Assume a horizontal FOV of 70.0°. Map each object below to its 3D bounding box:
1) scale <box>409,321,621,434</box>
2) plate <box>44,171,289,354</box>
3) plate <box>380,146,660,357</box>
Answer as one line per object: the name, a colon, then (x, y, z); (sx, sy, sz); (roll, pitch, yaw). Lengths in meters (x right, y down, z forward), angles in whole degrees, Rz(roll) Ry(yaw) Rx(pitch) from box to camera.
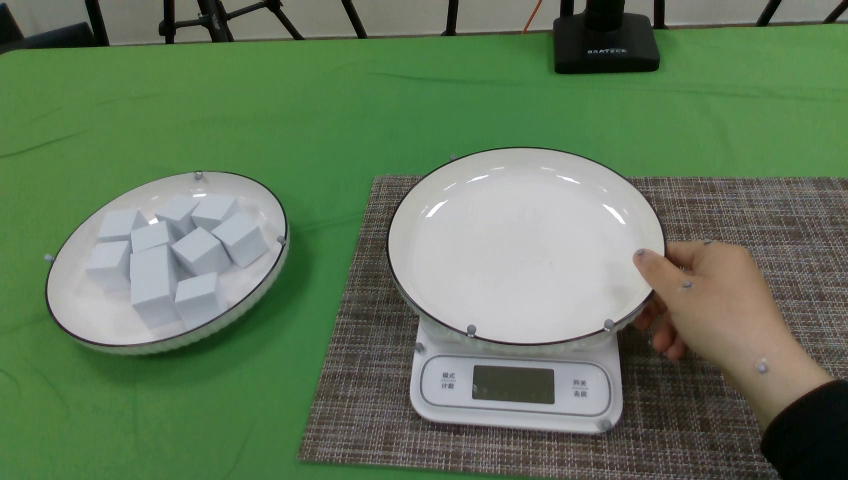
scale: (0.072, 0.050, 0.475); (0.148, 0.032, 0.199); (2, 47, 9)
plate: (-0.221, 0.018, 0.542); (0.209, 0.038, 0.207); (-3, 46, 4)
plate: (0.072, 0.006, 0.470); (0.207, 0.039, 0.205); (-3, 47, 3)
